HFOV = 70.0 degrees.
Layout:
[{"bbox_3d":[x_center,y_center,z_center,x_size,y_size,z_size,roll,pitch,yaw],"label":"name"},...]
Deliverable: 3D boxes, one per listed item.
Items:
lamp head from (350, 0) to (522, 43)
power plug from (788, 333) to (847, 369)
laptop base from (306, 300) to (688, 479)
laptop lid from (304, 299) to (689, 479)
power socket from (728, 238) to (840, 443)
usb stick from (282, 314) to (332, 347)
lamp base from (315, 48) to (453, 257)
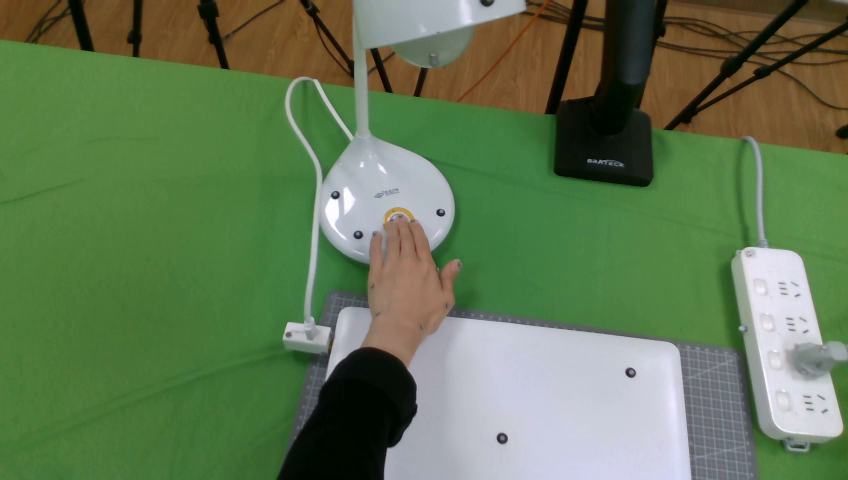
[{"bbox_3d":[-0.004,-0.195,0.381,0.112,0.111,0.123,-20,107,-13],"label":"lamp head"},{"bbox_3d":[0.403,0.116,0.605,0.072,0.053,0.035,16,61,5],"label":"power plug"},{"bbox_3d":[0.073,0.185,0.584,0.354,0.023,0.233,6,64,0],"label":"laptop base"},{"bbox_3d":[0.073,0.181,0.572,0.357,0.013,0.240,7,63,2],"label":"laptop lid"},{"bbox_3d":[0.376,0.096,0.641,0.072,0.033,0.225,6,60,-1],"label":"power socket"},{"bbox_3d":[-0.111,0.092,0.611,0.059,0.027,0.021,9,56,0],"label":"usb stick"},{"bbox_3d":[-0.051,-0.098,0.645,0.161,0.182,0.177,-27,62,-17],"label":"lamp base"}]
